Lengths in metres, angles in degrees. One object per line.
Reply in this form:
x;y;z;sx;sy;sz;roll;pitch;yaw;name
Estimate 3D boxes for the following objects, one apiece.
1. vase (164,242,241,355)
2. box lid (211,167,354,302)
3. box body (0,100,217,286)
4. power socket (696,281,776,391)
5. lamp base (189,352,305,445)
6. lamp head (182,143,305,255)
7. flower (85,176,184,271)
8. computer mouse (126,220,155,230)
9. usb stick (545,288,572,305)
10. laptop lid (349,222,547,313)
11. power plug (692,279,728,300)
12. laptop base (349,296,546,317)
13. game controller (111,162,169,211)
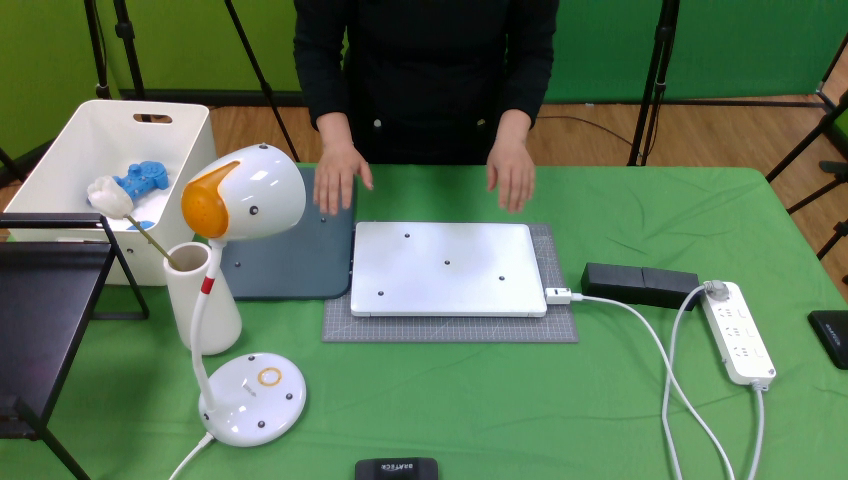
-0.349;0.096;0.954;0.098;0.201;0.097;3;47;-3;vase
-0.276;-0.024;1.205;0.263;0.015;0.369;0;46;-4;box lid
-0.559;-0.092;1.145;0.254;0.161;0.361;3;46;-2;box body
0.550;0.160;1.078;0.072;0.033;0.225;2;46;-1;power socket
-0.268;0.196;0.876;0.160;0.181;0.179;26;52;20;lamp base
-0.216;-0.044;0.697;0.112;0.113;0.123;23;31;17;lamp head
-0.365;0.038;0.894;0.038;0.364;0.044;-6;53;14;flower
-0.537;0.008;1.127;0.062;0.041;0.117;32;56;20;computer mouse
0.236;0.102;1.101;0.059;0.027;0.021;-2;47;2;usb stick
0.041;0.046;1.143;0.357;0.013;0.240;2;44;-3;laptop lid
0.522;0.091;1.116;0.072;0.053;0.035;10;47;7;power plug
0.041;0.055;1.149;0.355;0.023;0.234;1;43;-4;laptop base
-0.597;-0.113;1.234;0.097;0.052;0.155;29;51;20;game controller
